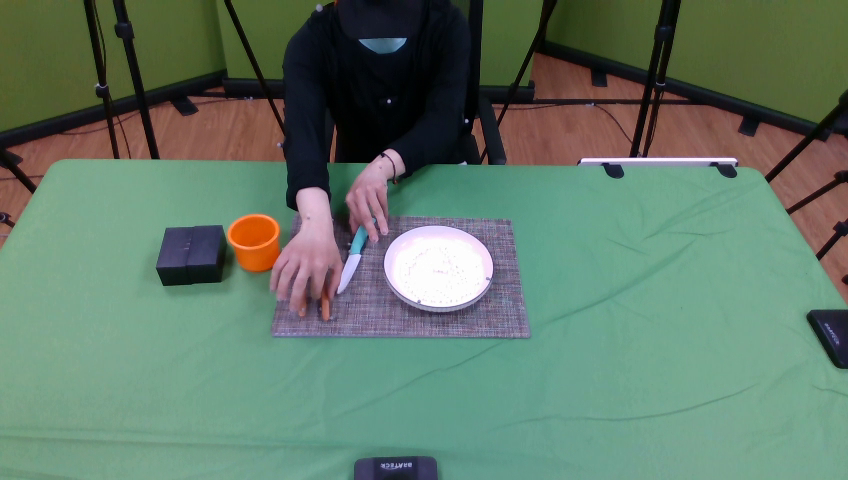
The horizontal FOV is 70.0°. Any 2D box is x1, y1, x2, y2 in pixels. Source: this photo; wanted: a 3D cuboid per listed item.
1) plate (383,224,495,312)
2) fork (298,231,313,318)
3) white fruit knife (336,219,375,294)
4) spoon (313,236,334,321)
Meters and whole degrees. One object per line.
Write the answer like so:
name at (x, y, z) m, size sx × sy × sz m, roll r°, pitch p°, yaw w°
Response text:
plate at (0.026, 0.055, 1.128) m, size 0.209 × 0.038 × 0.208 m, roll 2°, pitch 46°, yaw -2°
fork at (-0.222, 0.059, 1.121) m, size 0.028 × 0.019 × 0.206 m, roll 2°, pitch 44°, yaw -10°
white fruit knife at (-0.134, 0.027, 1.159) m, size 0.027 × 0.016 × 0.206 m, roll 19°, pitch 45°, yaw -2°
spoon at (-0.184, 0.067, 1.111) m, size 0.041 × 0.022 × 0.192 m, roll -5°, pitch 46°, yaw -5°
